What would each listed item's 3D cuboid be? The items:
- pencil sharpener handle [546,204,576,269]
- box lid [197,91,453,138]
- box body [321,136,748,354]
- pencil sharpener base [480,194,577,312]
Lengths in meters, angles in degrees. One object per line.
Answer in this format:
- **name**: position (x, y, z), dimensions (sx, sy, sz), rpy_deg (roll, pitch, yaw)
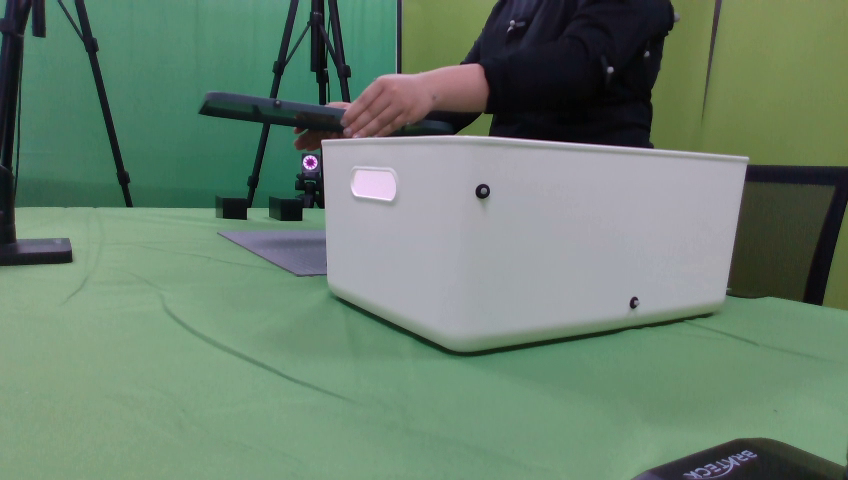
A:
- **pencil sharpener handle**: position (0.145, -0.003, 0.619), dimensions (0.031, 0.067, 0.036), rpy_deg (-1, 16, -33)
- **box lid**: position (-0.165, -0.192, 0.970), dimensions (0.373, 0.015, 0.262), rpy_deg (3, 5, -24)
- **box body**: position (0.105, -0.012, 0.603), dimensions (0.366, 0.160, 0.253), rpy_deg (-2, 8, -33)
- **pencil sharpener base**: position (0.103, 0.011, 0.591), dimensions (0.077, 0.107, 0.061), rpy_deg (-1, 7, -33)
